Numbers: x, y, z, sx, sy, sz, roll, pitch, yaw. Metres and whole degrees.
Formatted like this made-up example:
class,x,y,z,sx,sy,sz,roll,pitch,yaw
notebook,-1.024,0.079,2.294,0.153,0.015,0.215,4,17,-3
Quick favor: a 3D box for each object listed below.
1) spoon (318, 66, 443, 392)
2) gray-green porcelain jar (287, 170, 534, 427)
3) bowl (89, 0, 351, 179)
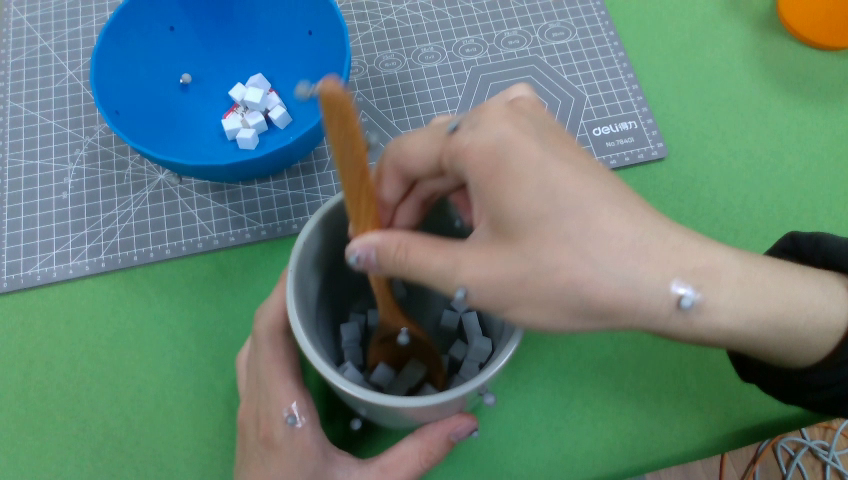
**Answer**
class,x,y,z,sx,sy,sz,roll,pitch,yaw
spoon,-0.019,0.012,0.274,0.041,0.195,0.021,2,48,10
gray-green porcelain jar,-0.006,0.039,0.312,0.106,0.127,0.105,0,68,0
bowl,-0.118,-0.095,0.386,0.151,0.077,0.150,0,68,-1
